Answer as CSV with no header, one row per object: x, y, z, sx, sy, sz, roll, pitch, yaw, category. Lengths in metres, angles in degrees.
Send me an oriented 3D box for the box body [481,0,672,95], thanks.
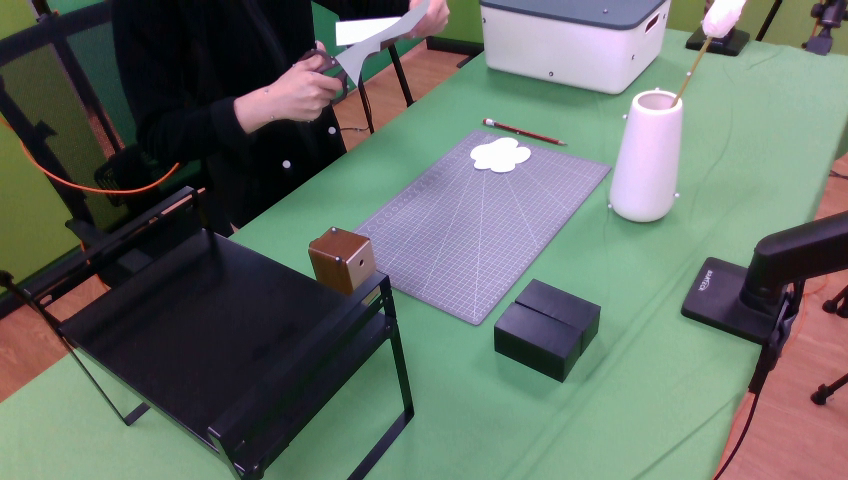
0.341,-0.480,1.381,0.361,0.161,0.255,22,48,30,box body

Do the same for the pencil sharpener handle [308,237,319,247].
-0.159,0.017,0.892,0.030,0.068,0.036,18,61,28,pencil sharpener handle

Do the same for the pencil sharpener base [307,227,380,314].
-0.116,0.043,0.875,0.076,0.107,0.061,18,47,27,pencil sharpener base

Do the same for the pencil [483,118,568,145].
0.202,-0.217,1.212,0.192,0.012,0.012,24,49,29,pencil

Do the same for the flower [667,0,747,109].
0.354,-0.187,0.879,0.038,0.362,0.044,30,48,14,flower

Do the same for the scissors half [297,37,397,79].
-0.119,-0.278,0.907,0.174,0.040,0.013,-8,35,22,scissors half

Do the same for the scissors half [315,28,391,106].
-0.106,-0.261,0.916,0.174,0.040,0.013,-38,16,35,scissors half

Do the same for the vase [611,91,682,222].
0.348,-0.125,0.935,0.098,0.201,0.097,-3,40,3,vase

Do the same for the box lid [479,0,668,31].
0.335,-0.536,1.331,0.368,0.015,0.264,23,49,30,box lid
